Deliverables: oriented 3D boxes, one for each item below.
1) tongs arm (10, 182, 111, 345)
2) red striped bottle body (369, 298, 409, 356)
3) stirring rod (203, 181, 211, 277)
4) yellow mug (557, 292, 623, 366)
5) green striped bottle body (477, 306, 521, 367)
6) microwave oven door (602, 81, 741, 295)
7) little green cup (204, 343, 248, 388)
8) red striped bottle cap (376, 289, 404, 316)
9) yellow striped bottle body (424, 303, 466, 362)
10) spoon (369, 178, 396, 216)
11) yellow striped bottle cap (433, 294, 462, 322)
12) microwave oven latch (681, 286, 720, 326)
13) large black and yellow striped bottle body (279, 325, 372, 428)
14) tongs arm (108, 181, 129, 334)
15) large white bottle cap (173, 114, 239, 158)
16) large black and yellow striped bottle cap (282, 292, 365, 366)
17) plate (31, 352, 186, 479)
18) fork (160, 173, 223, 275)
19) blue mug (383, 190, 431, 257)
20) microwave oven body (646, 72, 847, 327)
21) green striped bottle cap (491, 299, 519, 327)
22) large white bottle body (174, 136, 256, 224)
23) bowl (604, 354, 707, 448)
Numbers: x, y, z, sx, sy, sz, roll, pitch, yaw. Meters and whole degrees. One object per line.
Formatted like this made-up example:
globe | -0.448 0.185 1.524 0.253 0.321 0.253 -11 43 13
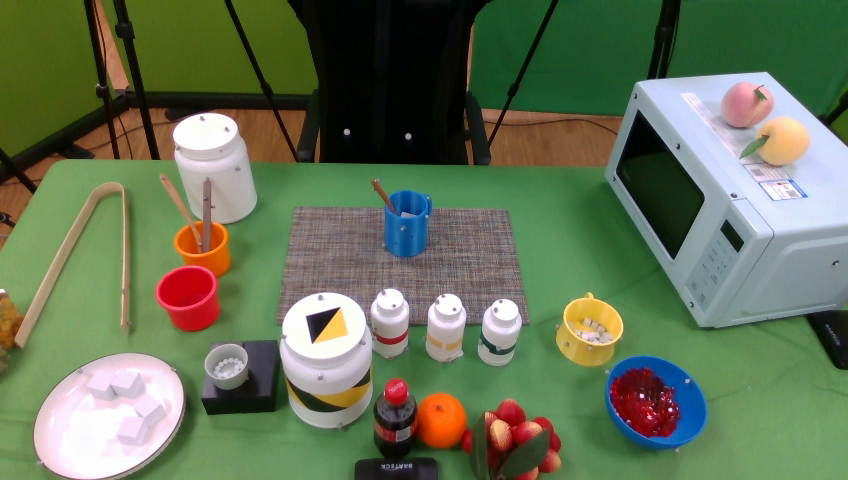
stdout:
tongs arm | -0.658 0.027 1.109 0.028 0.028 0.385 -2 45 2
red striped bottle body | -0.058 0.134 0.997 0.063 0.120 0.062 4 47 -4
stirring rod | -0.396 -0.021 1.107 0.014 0.006 0.176 -1 89 -1
yellow mug | 0.285 0.145 1.051 0.100 0.064 0.130 7 45 4
green striped bottle body | 0.124 0.151 0.995 0.063 0.120 0.063 2 46 -2
microwave oven door | 0.456 -0.107 1.162 0.039 0.245 0.353 -7 47 -11
little green cup | -0.294 0.190 0.909 0.061 0.039 0.061 1 48 -1
red striped bottle cap | -0.054 0.098 0.958 0.044 0.018 0.044 0 48 0
yellow striped bottle body | 0.035 0.143 0.995 0.063 0.121 0.062 3 46 -3
spoon | -0.065 -0.057 1.106 0.041 0.195 0.021 17 64 26
yellow striped bottle cap | 0.037 0.107 0.958 0.044 0.019 0.044 2 45 -2
microwave oven latch | 0.493 0.119 1.087 0.030 0.029 0.078 -5 46 -9
large black and yellow striped bottle body | -0.143 0.181 0.900 0.131 0.185 0.130 2 46 -2
tongs arm | -0.571 0.019 1.123 0.051 0.026 0.382 -10 47 -12
large white bottle cap | -0.403 -0.195 1.122 0.115 0.018 0.114 2 47 -2
large black and yellow striped bottle cap | -0.139 0.121 0.841 0.115 0.019 0.114 3 47 -3
plate | -0.459 0.262 0.898 0.209 0.038 0.208 2 46 -2
fork | -0.426 -0.030 1.103 0.028 0.018 0.207 -30 99 -23
blue mug | -0.026 -0.040 1.172 0.082 0.106 0.116 34 53 26
microwave oven body | 0.607 -0.090 1.164 0.326 0.261 0.438 -7 46 -10
green striped bottle cap | 0.128 0.115 0.958 0.044 0.020 0.044 1 46 -1
large white bottle body | -0.408 -0.137 1.183 0.131 0.185 0.130 2 46 -2
bowl | 0.346 0.261 0.937 0.151 0.077 0.150 2 46 -2
